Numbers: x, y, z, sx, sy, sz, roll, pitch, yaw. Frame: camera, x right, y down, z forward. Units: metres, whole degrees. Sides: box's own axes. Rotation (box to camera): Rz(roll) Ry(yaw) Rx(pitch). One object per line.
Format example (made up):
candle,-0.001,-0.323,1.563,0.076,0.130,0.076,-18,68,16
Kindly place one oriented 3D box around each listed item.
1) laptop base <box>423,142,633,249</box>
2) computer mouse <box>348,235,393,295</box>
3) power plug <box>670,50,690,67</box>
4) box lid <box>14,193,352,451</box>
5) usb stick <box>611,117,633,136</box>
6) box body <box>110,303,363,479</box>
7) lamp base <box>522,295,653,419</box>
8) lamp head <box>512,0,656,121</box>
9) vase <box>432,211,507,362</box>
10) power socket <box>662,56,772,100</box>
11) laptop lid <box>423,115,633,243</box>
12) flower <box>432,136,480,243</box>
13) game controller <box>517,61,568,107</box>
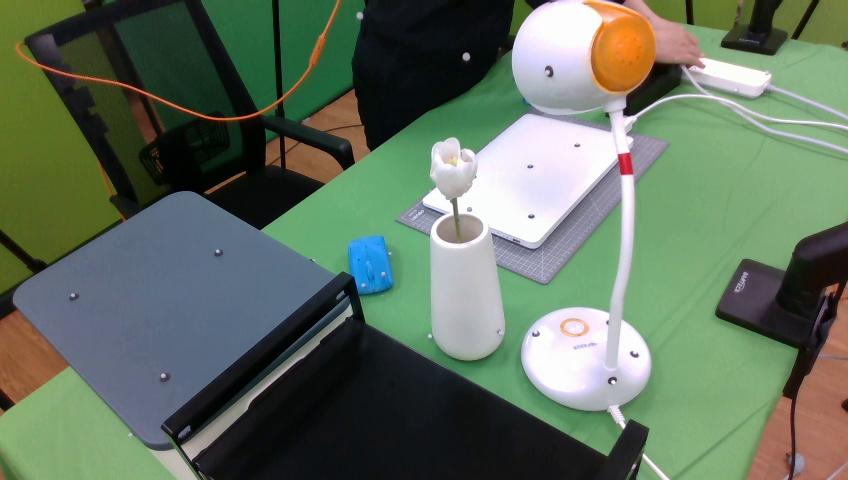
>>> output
laptop base,0.194,-0.117,1.087,0.233,0.023,0.355,21,48,34
computer mouse,-0.085,0.034,0.936,0.063,0.041,0.116,-8,45,-5
power plug,0.540,-0.380,1.300,0.073,0.053,0.035,-25,45,-21
box lid,-0.290,0.066,0.718,0.368,0.015,0.264,25,50,33
usb stick,0.372,-0.208,1.147,0.021,0.027,0.059,28,55,32
box body,-0.284,0.122,0.766,0.361,0.161,0.255,25,49,33
lamp base,0.202,0.095,0.710,0.161,0.181,0.178,-16,43,-10
lamp head,0.157,-0.168,0.564,0.113,0.113,0.122,-18,23,-12
vase,0.055,0.061,0.758,0.098,0.201,0.097,-3,40,3
power socket,0.616,-0.348,1.284,0.225,0.033,0.072,30,53,35
laptop lid,0.191,-0.126,1.081,0.239,0.013,0.358,23,49,35
flower,0.043,0.011,0.691,0.044,0.363,0.038,15,62,13
game controller,0.261,-0.352,1.336,0.097,0.052,0.154,-3,41,2
